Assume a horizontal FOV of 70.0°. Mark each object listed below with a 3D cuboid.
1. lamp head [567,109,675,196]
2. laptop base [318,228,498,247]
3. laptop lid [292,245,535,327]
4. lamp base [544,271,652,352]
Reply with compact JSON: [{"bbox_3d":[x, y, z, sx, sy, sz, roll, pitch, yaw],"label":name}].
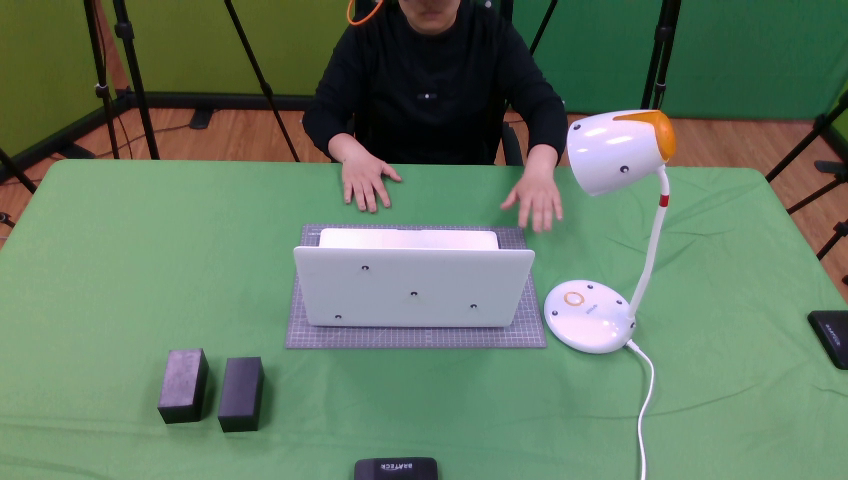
[{"bbox_3d":[0.272,-0.123,0.818,0.122,0.113,0.112,-9,35,37],"label":"lamp head"},{"bbox_3d":[-0.028,0.066,1.135,0.355,0.023,0.234,1,43,-4],"label":"laptop base"},{"bbox_3d":[-0.018,0.080,0.956,0.357,0.243,0.013,2,54,-5],"label":"laptop lid"},{"bbox_3d":[0.310,0.086,1.029,0.178,0.181,0.160,32,52,21],"label":"lamp base"}]
